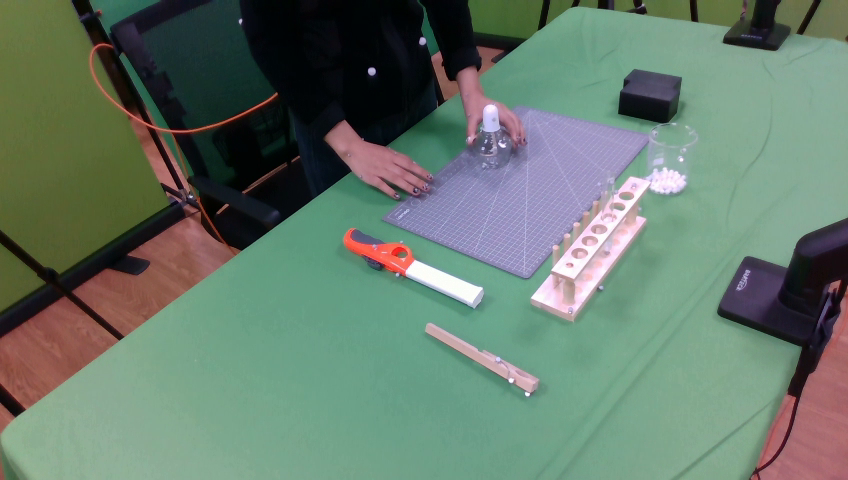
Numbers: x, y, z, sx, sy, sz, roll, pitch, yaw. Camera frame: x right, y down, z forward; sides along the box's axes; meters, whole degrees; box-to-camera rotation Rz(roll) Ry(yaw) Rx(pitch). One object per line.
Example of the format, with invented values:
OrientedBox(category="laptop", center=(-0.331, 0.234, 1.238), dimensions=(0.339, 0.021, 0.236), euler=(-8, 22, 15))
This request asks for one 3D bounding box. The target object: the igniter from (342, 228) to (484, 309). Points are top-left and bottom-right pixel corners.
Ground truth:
OrientedBox(category="igniter", center=(-0.027, 0.039, 0.936), dimensions=(0.274, 0.025, 0.057), euler=(23, 60, 32))

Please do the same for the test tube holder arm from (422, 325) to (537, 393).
OrientedBox(category="test tube holder arm", center=(0.068, 0.152, 0.789), dimensions=(0.177, 0.015, 0.013), euler=(23, 15, 32))

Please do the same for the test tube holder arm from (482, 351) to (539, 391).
OrientedBox(category="test tube holder arm", center=(0.106, 0.166, 0.769), dimensions=(0.087, 0.015, 0.010), euler=(24, 15, 34))

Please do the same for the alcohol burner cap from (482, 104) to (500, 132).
OrientedBox(category="alcohol burner cap", center=(0.120, -0.221, 1.088), dimensions=(0.034, 0.048, 0.033), euler=(-6, 34, 4))

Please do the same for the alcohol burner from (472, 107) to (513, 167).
OrientedBox(category="alcohol burner", center=(0.125, -0.195, 1.111), dimensions=(0.078, 0.119, 0.077), euler=(-5, 42, 5))

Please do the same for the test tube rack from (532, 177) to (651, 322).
OrientedBox(category="test tube rack", center=(0.247, 0.002, 0.883), dimensions=(0.066, 0.085, 0.243), euler=(22, 49, 32))

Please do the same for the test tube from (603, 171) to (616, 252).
OrientedBox(category="test tube", center=(0.259, -0.036, 0.848), dimensions=(0.017, 0.151, 0.017), euler=(-8, 46, 9))

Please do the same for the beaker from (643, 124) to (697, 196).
OrientedBox(category="beaker", center=(0.407, -0.132, 1.001), dimensions=(0.084, 0.101, 0.073), euler=(-20, 42, -13))
